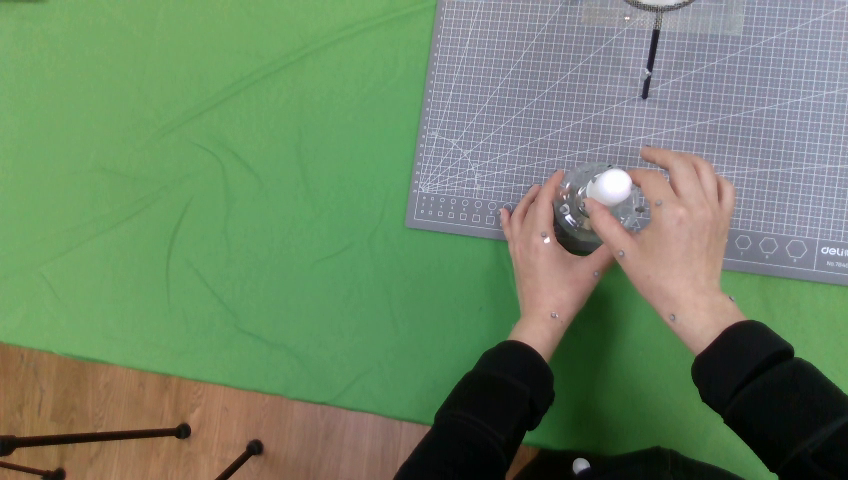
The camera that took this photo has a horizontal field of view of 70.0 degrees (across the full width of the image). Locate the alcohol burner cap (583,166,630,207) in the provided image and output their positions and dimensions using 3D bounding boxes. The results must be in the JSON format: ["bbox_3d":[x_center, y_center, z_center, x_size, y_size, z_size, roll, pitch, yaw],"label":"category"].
[{"bbox_3d":[0.152,-0.046,0.500,0.034,0.048,0.034,0,86,3],"label":"alcohol burner cap"}]

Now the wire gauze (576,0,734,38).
[{"bbox_3d":[0.190,-0.228,0.488,0.125,0.011,0.121,7,91,10],"label":"wire gauze"}]

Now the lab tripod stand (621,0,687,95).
[{"bbox_3d":[0.204,-0.223,0.551,0.148,0.132,0.148,-1,87,11],"label":"lab tripod stand"}]

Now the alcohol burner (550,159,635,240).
[{"bbox_3d":[0.157,-0.039,0.559,0.078,0.119,0.077,-1,85,10],"label":"alcohol burner"}]
